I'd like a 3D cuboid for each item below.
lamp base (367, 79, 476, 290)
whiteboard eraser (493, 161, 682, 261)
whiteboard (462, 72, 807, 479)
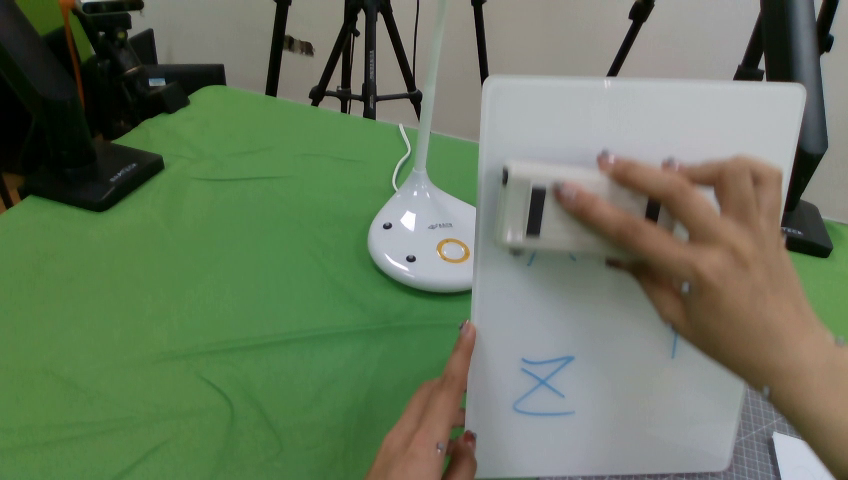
[{"bbox_3d":[0.015,-0.066,0.647,0.161,0.181,0.177,-16,40,-27],"label":"lamp base"},{"bbox_3d":[0.103,-0.018,0.389,0.113,0.056,0.041,4,17,-6],"label":"whiteboard eraser"},{"bbox_3d":[0.137,0.022,0.495,0.217,0.307,0.143,0,17,-4],"label":"whiteboard"}]
